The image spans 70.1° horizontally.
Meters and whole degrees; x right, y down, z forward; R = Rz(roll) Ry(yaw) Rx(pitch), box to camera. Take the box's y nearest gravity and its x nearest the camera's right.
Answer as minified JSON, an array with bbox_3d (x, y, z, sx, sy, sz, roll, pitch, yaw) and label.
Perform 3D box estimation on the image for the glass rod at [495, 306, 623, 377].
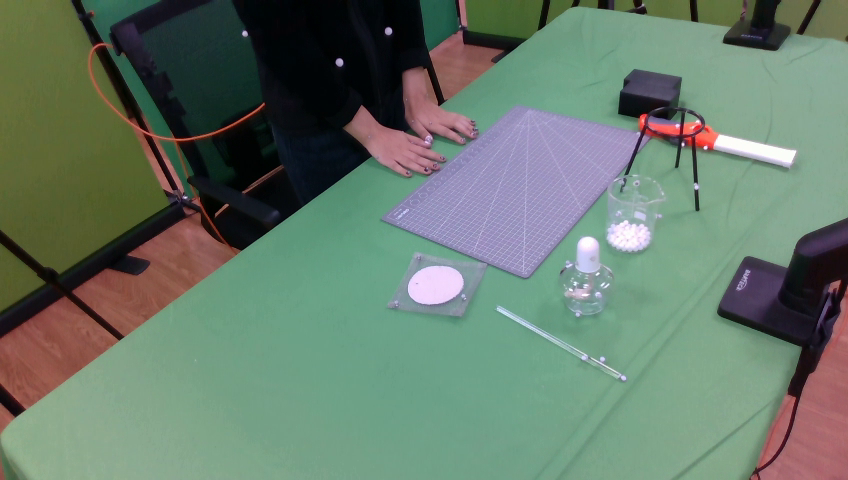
[{"bbox_3d":[0.174,0.131,0.804,0.198,0.008,0.008,27,53,35],"label":"glass rod"}]

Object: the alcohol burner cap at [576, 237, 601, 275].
[{"bbox_3d":[0.216,0.018,0.793,0.034,0.048,0.033,-7,35,6],"label":"alcohol burner cap"}]

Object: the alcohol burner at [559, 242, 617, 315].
[{"bbox_3d":[0.222,0.045,0.816,0.078,0.119,0.077,-4,42,4],"label":"alcohol burner"}]

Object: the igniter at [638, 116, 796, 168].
[{"bbox_3d":[0.517,-0.181,1.093,0.274,0.025,0.057,23,65,32],"label":"igniter"}]

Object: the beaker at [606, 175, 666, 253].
[{"bbox_3d":[0.314,-0.036,0.906,0.083,0.101,0.074,15,46,25],"label":"beaker"}]

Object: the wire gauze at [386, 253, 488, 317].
[{"bbox_3d":[0.021,0.067,0.910,0.121,0.011,0.125,9,41,20],"label":"wire gauze"}]

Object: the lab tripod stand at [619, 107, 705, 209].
[{"bbox_3d":[0.400,-0.136,0.981,0.148,0.132,0.147,-4,41,4],"label":"lab tripod stand"}]
